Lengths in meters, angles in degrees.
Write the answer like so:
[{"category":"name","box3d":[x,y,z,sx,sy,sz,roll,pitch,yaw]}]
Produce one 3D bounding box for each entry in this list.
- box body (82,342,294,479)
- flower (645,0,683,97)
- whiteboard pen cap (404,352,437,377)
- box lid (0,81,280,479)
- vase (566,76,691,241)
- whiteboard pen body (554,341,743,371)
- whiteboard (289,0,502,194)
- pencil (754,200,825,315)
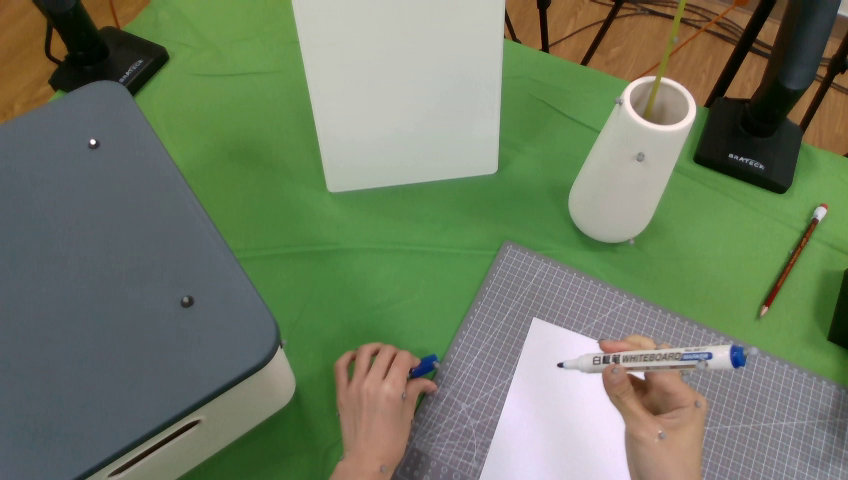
[{"category":"box body","box3d":[-0.320,0.058,0.588,0.254,0.161,0.361,-32,66,-17]},{"category":"flower","box3d":[0.217,-0.137,0.592,0.044,0.365,0.038,18,44,13]},{"category":"whiteboard pen cap","box3d":[-0.003,0.128,0.626,0.033,0.018,0.018,-20,62,-21]},{"category":"box lid","box3d":[-0.321,0.020,0.524,0.263,0.015,0.368,-32,66,-18]},{"category":"vase","box3d":[0.217,-0.083,0.657,0.098,0.201,0.097,0,59,0]},{"category":"whiteboard pen body","box3d":[0.153,0.085,0.435,0.140,0.017,0.017,-15,48,43]},{"category":"whiteboard","box3d":[-0.032,-0.230,0.709,0.217,0.308,0.142,-7,42,-4]},{"category":"pencil","box3d":[0.430,0.018,0.713,0.012,0.012,0.193,36,67,18]}]
